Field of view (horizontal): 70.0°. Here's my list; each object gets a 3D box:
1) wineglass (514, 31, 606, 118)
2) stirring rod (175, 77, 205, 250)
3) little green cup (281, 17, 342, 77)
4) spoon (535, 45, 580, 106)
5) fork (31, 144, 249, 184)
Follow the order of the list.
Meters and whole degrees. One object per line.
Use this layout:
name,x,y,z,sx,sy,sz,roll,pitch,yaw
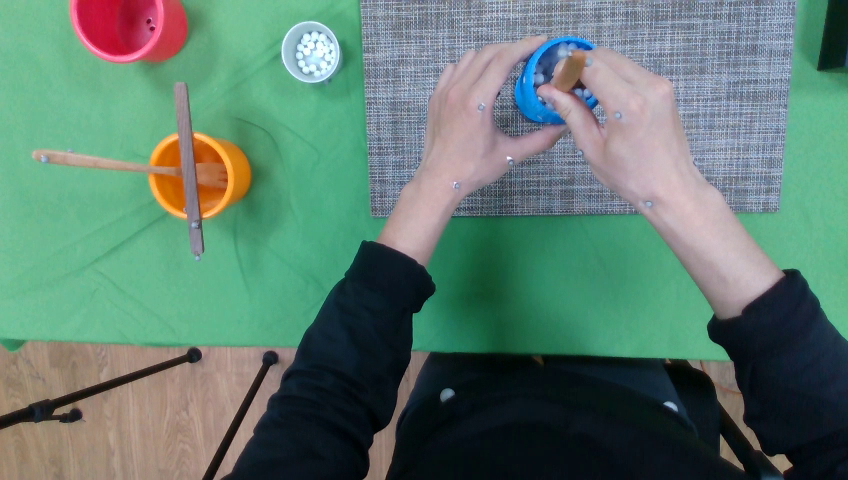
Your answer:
wineglass,0.122,-0.150,0.568,0.073,0.172,0.074,1,101,5
stirring rod,-0.241,-0.076,0.623,0.014,0.006,0.176,-1,101,4
little green cup,-0.117,-0.203,0.647,0.061,0.038,0.062,1,102,5
spoon,0.106,-0.122,0.466,0.041,0.193,0.022,23,101,6
fork,-0.283,-0.079,0.628,0.209,0.018,0.028,3,112,-41
